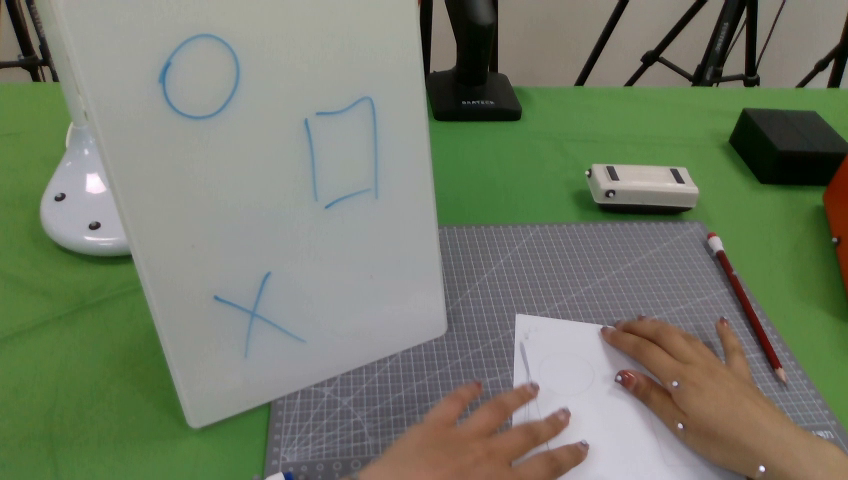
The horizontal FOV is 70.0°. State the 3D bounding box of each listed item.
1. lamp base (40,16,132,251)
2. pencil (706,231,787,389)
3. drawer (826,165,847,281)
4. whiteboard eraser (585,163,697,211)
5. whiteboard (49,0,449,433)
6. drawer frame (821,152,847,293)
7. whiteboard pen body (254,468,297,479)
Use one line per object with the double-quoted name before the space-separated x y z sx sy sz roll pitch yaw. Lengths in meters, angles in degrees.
"lamp base" -0.305 -0.107 0.572 0.178 0.182 0.160 26 45 25
"pencil" 0.305 0.059 0.578 0.012 0.012 0.192 3 44 -3
"drawer" 0.531 0.016 0.601 0.194 0.074 0.210 15 42 12
"whiteboard eraser" 0.243 -0.059 0.685 0.113 0.042 0.055 3 42 -3
"whiteboard" -0.118 -0.048 0.476 0.218 0.307 0.142 -17 27 -22
"drawer frame" 0.530 0.013 0.603 0.201 0.083 0.212 14 42 11
"whiteboard pen body" -0.151 0.178 0.387 0.141 0.017 0.017 -14 45 -23
